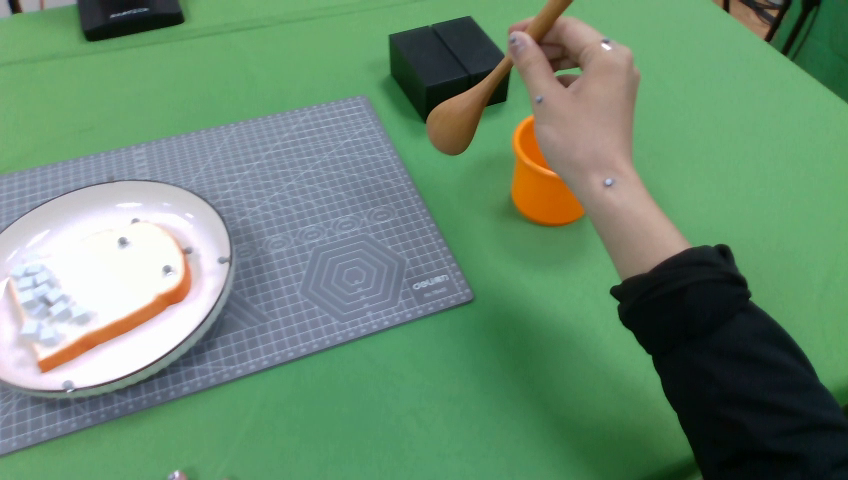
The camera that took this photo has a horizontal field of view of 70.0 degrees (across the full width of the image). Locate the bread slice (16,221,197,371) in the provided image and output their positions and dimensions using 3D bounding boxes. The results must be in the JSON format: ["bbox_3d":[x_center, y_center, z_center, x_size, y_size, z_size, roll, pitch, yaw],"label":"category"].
[{"bbox_3d":[-0.260,0.034,0.502,0.131,0.019,0.104,-30,59,-21],"label":"bread slice"}]

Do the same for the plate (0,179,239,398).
[{"bbox_3d":[-0.256,0.036,0.496,0.209,0.038,0.207,1,52,-1],"label":"plate"}]

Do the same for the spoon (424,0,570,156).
[{"bbox_3d":[0.055,-0.125,0.431,0.041,0.194,0.021,46,40,2],"label":"spoon"}]
